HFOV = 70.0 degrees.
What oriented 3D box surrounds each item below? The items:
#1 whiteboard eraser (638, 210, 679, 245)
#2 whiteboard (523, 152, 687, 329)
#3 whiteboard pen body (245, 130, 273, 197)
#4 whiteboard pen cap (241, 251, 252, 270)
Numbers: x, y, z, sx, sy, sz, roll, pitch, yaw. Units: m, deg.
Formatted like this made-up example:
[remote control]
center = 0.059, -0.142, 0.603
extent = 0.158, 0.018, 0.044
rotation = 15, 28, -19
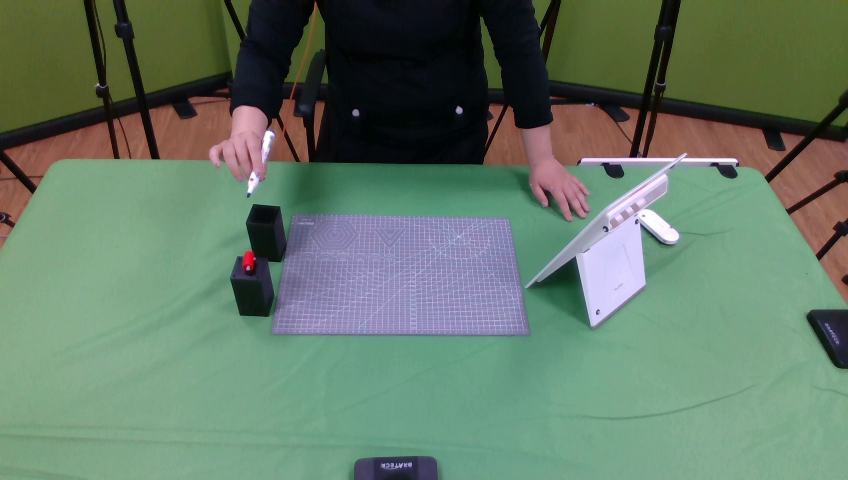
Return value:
[whiteboard eraser]
center = 0.485, -0.027, 1.260
extent = 0.041, 0.019, 0.100
rotation = -21, 50, -21
[whiteboard]
center = 0.346, 0.025, 1.046
extent = 0.217, 0.306, 0.143
rotation = -30, 74, -29
[whiteboard pen body]
center = -0.280, -0.130, 1.023
extent = 0.017, 0.017, 0.140
rotation = 9, 61, 4
[whiteboard pen cap]
center = -0.294, 0.033, 1.005
extent = 0.017, 0.017, 0.032
rotation = -2, 44, -7
